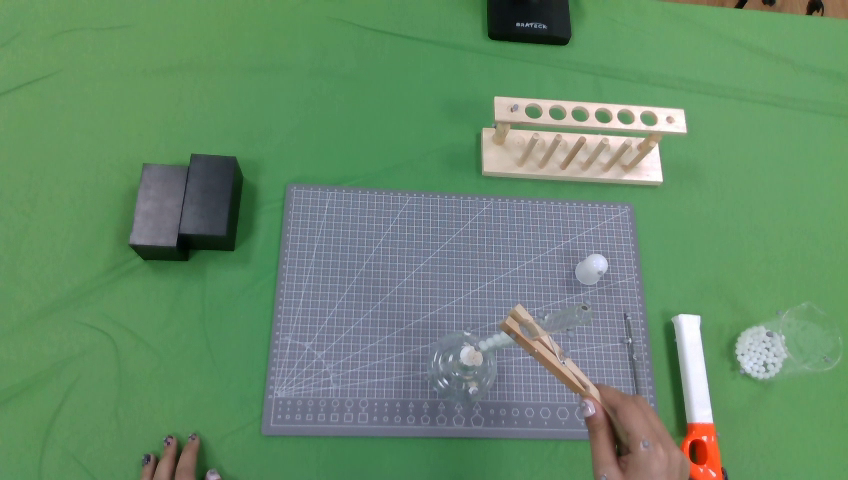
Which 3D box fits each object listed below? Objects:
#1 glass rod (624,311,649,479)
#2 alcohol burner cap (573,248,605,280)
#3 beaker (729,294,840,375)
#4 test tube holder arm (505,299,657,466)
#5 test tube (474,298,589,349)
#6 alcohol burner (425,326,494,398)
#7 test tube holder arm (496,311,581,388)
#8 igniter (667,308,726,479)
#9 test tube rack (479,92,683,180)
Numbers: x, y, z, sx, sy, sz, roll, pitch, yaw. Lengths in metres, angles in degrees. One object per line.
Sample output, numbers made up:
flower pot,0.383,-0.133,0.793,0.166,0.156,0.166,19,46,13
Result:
glass rod,0.248,0.180,0.712,0.008,0.008,0.198,2,70,-6
alcohol burner cap,0.205,0.027,0.743,0.034,0.048,0.033,2,70,-6
beaker,0.417,0.114,0.711,0.074,0.101,0.083,15,68,-1
test tube holder arm,0.132,0.120,0.507,0.178,0.015,0.013,47,61,0
test tube,0.083,0.072,0.504,0.017,0.150,0.017,9,68,-24
alcohol burner,0.041,0.127,0.649,0.078,0.120,0.077,2,68,-5
test tube holder arm,0.097,0.092,0.503,0.088,0.015,0.010,41,60,-4
igniter,0.315,0.215,0.700,0.057,0.025,0.274,6,70,-15
test tube rack,0.198,-0.131,0.779,0.243,0.085,0.066,2,70,-6
